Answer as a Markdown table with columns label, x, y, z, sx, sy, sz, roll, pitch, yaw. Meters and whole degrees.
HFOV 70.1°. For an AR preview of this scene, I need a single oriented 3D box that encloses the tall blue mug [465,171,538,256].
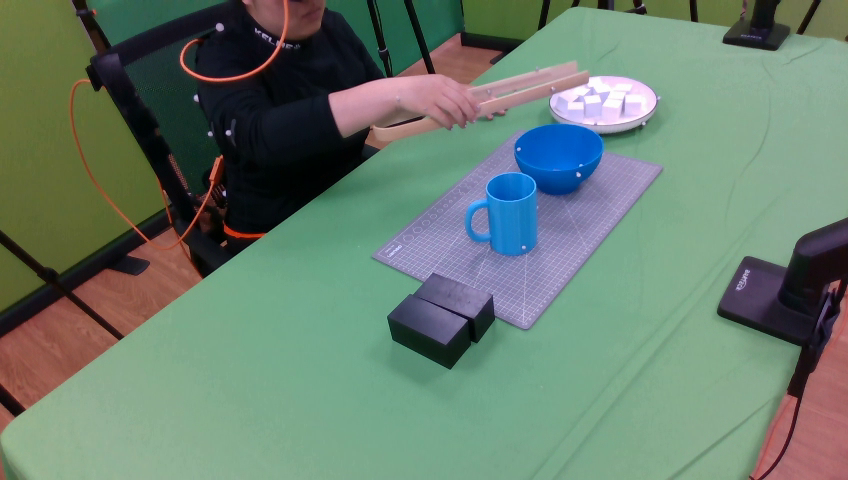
| label | x | y | z | sx | sy | sz | roll | pitch | yaw |
| --- | --- | --- | --- | --- | --- | --- | --- | --- | --- |
| tall blue mug | 0.125 | -0.033 | 0.925 | 0.107 | 0.108 | 0.077 | -32 | 46 | -25 |

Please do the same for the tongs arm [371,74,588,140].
| label | x | y | z | sx | sy | sz | roll | pitch | yaw |
| --- | --- | --- | --- | --- | --- | --- | --- | --- | --- |
| tongs arm | 0.100 | -0.231 | 1.052 | 0.388 | 0.028 | 0.028 | -15 | 43 | -4 |

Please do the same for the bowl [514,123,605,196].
| label | x | y | z | sx | sy | sz | roll | pitch | yaw |
| --- | --- | --- | --- | --- | --- | --- | --- | --- | --- |
| bowl | 0.232 | -0.131 | 1.045 | 0.151 | 0.077 | 0.150 | -5 | 40 | 5 |

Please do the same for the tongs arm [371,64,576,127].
| label | x | y | z | sx | sy | sz | roll | pitch | yaw |
| --- | --- | --- | --- | --- | --- | --- | --- | --- | --- |
| tongs arm | 0.093 | -0.250 | 1.076 | 0.385 | 0.026 | 0.050 | -14 | 40 | -2 |

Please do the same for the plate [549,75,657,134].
| label | x | y | z | sx | sy | sz | roll | pitch | yaw |
| --- | --- | --- | --- | --- | --- | --- | --- | --- | --- |
| plate | 0.357 | -0.269 | 1.220 | 0.209 | 0.038 | 0.208 | -5 | 41 | 5 |
